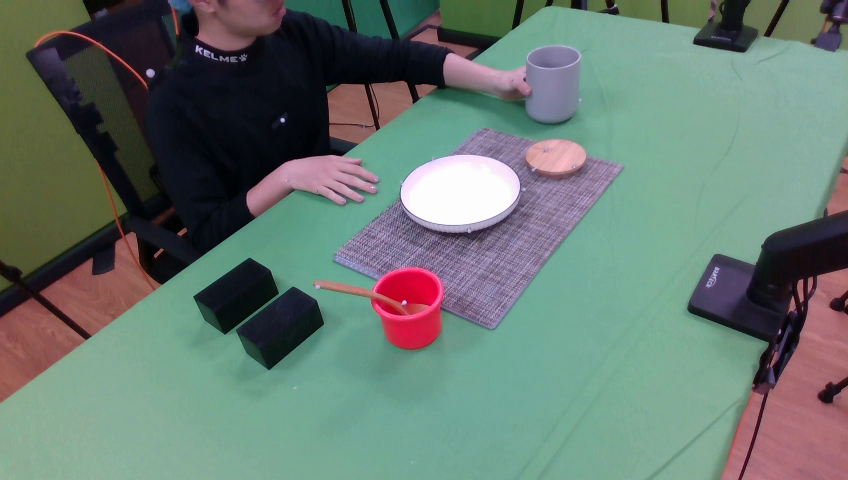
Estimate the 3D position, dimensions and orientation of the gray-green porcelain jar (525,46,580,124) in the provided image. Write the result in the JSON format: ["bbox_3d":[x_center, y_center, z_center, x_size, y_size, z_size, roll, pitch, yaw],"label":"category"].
[{"bbox_3d":[0.256,-0.305,1.209,0.106,0.127,0.105,-4,41,4],"label":"gray-green porcelain jar"}]

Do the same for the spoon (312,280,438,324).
[{"bbox_3d":[-0.060,0.078,0.793,0.195,0.021,0.041,24,25,-35],"label":"spoon"}]

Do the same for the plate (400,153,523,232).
[{"bbox_3d":[0.065,-0.078,1.034,0.207,0.039,0.206,-4,41,4],"label":"plate"}]

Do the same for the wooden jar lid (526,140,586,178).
[{"bbox_3d":[0.240,-0.147,1.103,0.108,0.021,0.108,-4,42,4],"label":"wooden jar lid"}]
